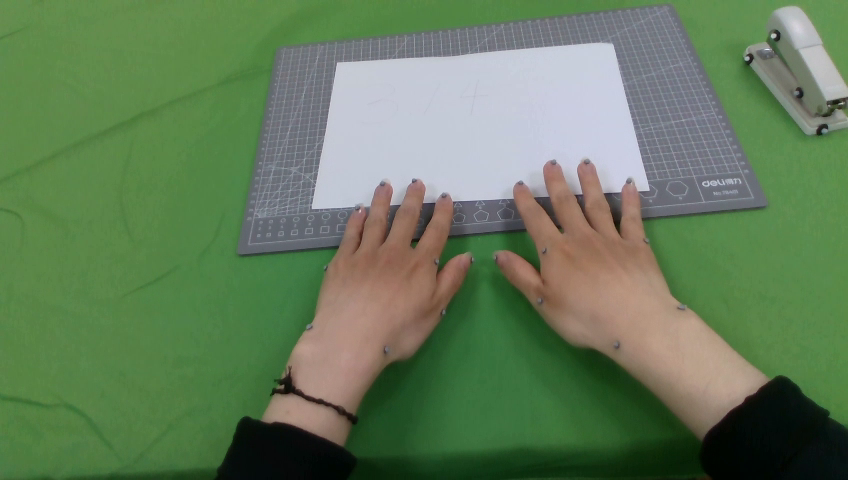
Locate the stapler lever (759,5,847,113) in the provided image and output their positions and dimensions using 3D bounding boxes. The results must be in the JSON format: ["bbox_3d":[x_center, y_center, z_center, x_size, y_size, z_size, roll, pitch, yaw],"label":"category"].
[{"bbox_3d":[0.345,-0.168,0.552,0.027,0.040,0.117,-14,55,1],"label":"stapler lever"}]

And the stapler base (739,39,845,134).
[{"bbox_3d":[0.348,-0.155,0.573,0.041,0.025,0.129,-13,55,1],"label":"stapler base"}]
